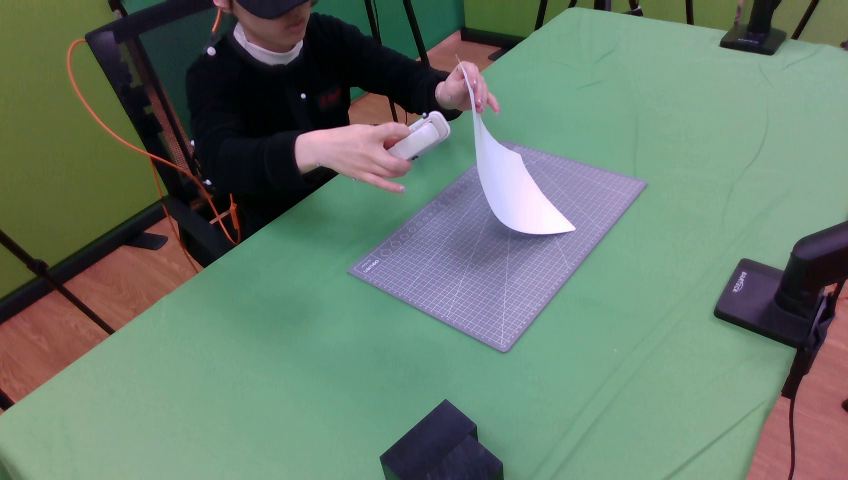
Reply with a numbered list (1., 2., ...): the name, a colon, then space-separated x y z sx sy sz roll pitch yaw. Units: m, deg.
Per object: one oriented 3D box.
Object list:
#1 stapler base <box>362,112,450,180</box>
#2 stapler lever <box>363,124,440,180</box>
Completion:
1. stapler base: -0.026 -0.126 0.825 0.130 0.041 0.024 -29 14 20
2. stapler lever: -0.031 -0.115 0.803 0.117 0.027 0.040 -29 14 21
